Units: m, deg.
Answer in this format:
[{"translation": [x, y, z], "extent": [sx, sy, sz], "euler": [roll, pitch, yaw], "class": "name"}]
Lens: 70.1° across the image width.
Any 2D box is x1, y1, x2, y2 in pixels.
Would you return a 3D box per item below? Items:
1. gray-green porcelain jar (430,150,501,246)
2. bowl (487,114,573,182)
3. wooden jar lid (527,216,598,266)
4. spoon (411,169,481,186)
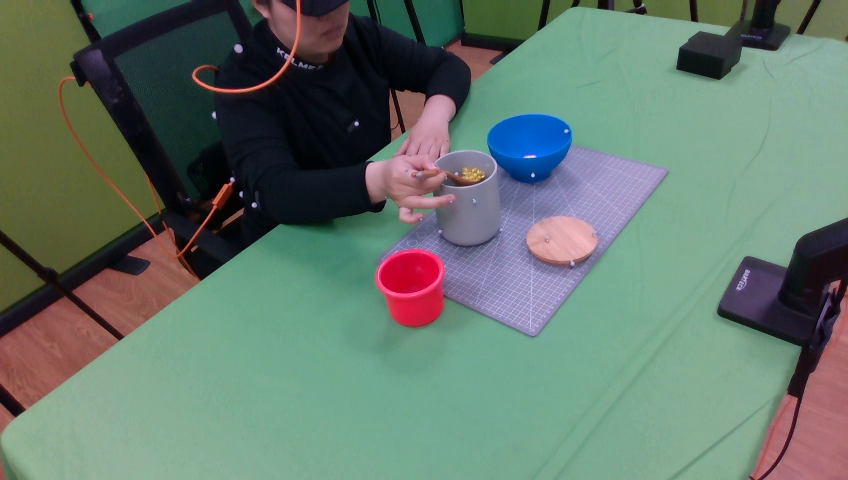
[{"translation": [0.069, -0.062, 0.959], "extent": [0.106, 0.127, 0.105], "euler": [-5, 40, 5], "class": "gray-green porcelain jar"}, {"translation": [0.190, -0.156, 1.085], "extent": [0.151, 0.077, 0.150], "euler": [-6, 40, 5], "class": "bowl"}, {"translation": [0.214, 0.003, 0.937], "extent": [0.108, 0.021, 0.108], "euler": [-4, 40, 4], "class": "wooden jar lid"}, {"translation": [0.032, -0.095, 0.894], "extent": [0.041, 0.021, 0.195], "euler": [13, 7, 30], "class": "spoon"}]
